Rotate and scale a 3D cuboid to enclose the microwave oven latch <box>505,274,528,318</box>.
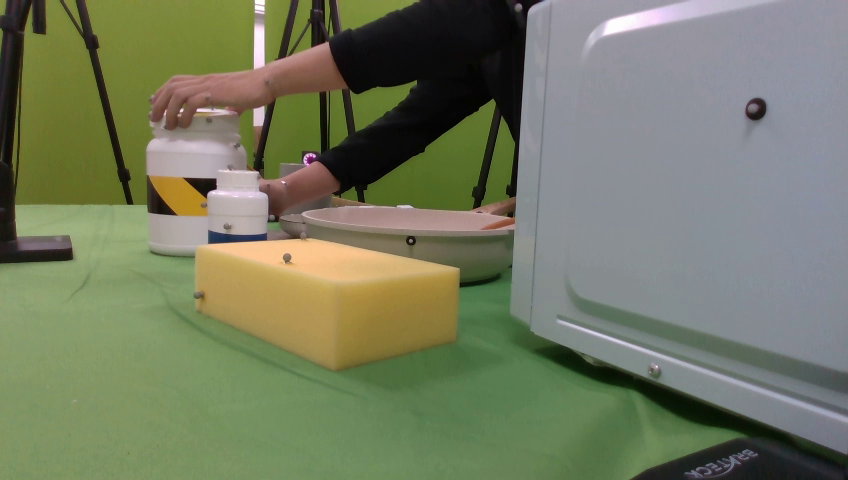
[{"bbox_3d":[0.100,0.041,0.472,0.079,0.029,0.030,-2,8,-31],"label":"microwave oven latch"}]

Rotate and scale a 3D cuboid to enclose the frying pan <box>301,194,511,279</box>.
[{"bbox_3d":[0.050,-0.028,0.864,0.305,0.102,0.490,8,18,35],"label":"frying pan"}]

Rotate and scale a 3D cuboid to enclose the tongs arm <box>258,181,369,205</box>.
[{"bbox_3d":[-0.242,-0.095,1.374,0.387,0.026,0.050,9,1,-37],"label":"tongs arm"}]

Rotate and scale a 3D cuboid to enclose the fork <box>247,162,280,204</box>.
[{"bbox_3d":[-0.396,-0.143,1.486,0.028,0.018,0.208,20,-26,45],"label":"fork"}]

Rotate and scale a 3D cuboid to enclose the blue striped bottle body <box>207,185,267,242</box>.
[{"bbox_3d":[-0.204,-0.016,0.663,0.063,0.120,0.063,2,7,0],"label":"blue striped bottle body"}]

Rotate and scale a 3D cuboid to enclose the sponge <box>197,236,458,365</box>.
[{"bbox_3d":[-0.087,0.039,0.500,0.119,0.061,0.206,-5,10,-45],"label":"sponge"}]

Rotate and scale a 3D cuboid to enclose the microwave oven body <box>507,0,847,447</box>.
[{"bbox_3d":[0.331,-0.042,0.425,0.444,0.260,0.324,-2,8,-31],"label":"microwave oven body"}]

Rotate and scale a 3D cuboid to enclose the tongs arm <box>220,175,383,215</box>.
[{"bbox_3d":[-0.285,-0.105,1.445,0.389,0.027,0.028,10,-3,-23],"label":"tongs arm"}]

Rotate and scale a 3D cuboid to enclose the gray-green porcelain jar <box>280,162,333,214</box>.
[{"bbox_3d":[-0.238,-0.092,1.221,0.106,0.126,0.106,2,7,0],"label":"gray-green porcelain jar"}]

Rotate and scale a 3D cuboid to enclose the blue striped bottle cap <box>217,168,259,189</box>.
[{"bbox_3d":[-0.202,-0.067,0.657,0.044,0.020,0.044,0,11,0],"label":"blue striped bottle cap"}]

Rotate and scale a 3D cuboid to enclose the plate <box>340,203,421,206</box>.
[{"bbox_3d":[-0.089,-0.053,1.309,0.208,0.039,0.207,2,8,0],"label":"plate"}]

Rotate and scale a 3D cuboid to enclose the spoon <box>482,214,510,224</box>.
[{"bbox_3d":[0.076,-0.013,0.794,0.193,0.021,0.042,-24,-2,11],"label":"spoon"}]

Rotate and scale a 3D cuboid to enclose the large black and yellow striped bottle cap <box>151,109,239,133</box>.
[{"bbox_3d":[-0.315,-0.166,0.837,0.115,0.019,0.115,1,19,0],"label":"large black and yellow striped bottle cap"}]

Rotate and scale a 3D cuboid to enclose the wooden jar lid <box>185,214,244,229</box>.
[{"bbox_3d":[-0.404,-0.037,1.169,0.108,0.020,0.108,3,7,0],"label":"wooden jar lid"}]

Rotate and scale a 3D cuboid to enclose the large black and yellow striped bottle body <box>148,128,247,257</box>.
[{"bbox_3d":[-0.317,-0.075,0.854,0.131,0.184,0.130,2,7,0],"label":"large black and yellow striped bottle body"}]

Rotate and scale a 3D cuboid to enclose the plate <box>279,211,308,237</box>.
[{"bbox_3d":[-0.139,-0.022,1.020,0.209,0.038,0.209,2,8,0],"label":"plate"}]

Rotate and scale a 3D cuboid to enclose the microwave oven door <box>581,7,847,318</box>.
[{"bbox_3d":[0.295,-0.067,0.569,0.358,0.243,0.039,-3,8,-31],"label":"microwave oven door"}]
